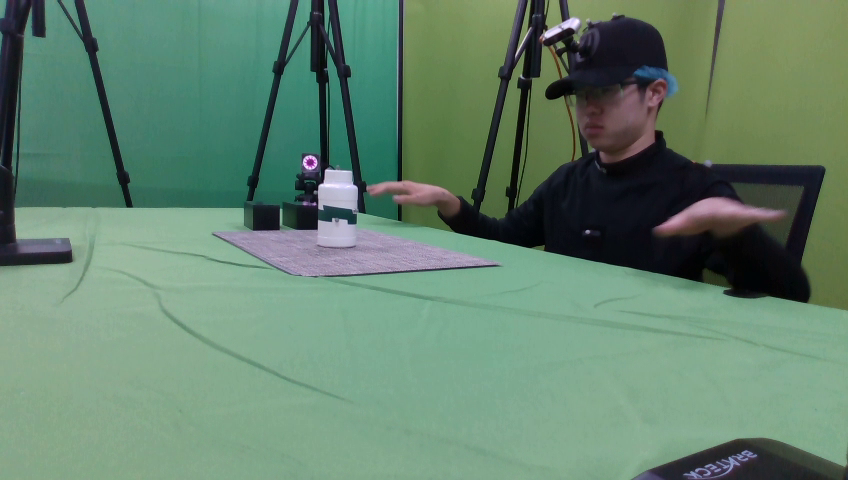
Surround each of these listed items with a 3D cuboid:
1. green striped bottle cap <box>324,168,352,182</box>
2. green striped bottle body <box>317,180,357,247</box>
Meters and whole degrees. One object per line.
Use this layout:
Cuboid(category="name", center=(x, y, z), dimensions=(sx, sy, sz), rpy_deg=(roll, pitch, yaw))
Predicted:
Cuboid(category="green striped bottle cap", center=(-0.136, -0.103, 0.959), dimensions=(0.044, 0.020, 0.044), rpy_deg=(4, 9, 0))
Cuboid(category="green striped bottle body", center=(-0.139, -0.051, 0.964), dimensions=(0.063, 0.119, 0.063), rpy_deg=(2, 7, 0))
